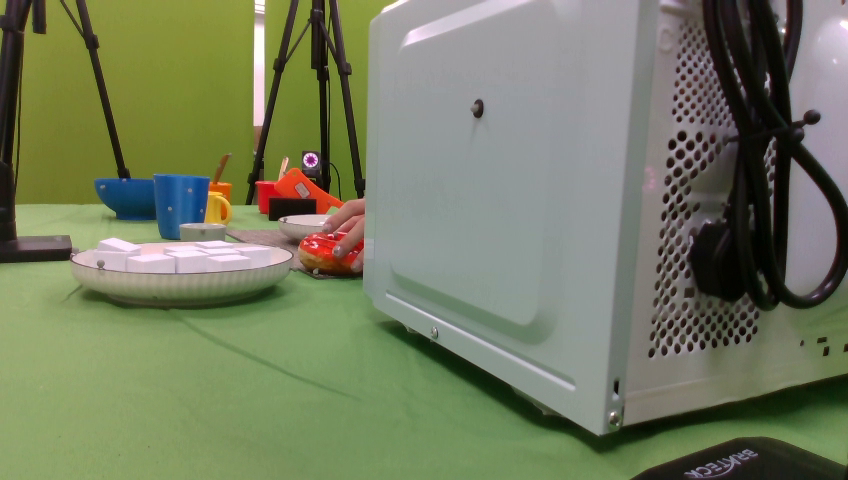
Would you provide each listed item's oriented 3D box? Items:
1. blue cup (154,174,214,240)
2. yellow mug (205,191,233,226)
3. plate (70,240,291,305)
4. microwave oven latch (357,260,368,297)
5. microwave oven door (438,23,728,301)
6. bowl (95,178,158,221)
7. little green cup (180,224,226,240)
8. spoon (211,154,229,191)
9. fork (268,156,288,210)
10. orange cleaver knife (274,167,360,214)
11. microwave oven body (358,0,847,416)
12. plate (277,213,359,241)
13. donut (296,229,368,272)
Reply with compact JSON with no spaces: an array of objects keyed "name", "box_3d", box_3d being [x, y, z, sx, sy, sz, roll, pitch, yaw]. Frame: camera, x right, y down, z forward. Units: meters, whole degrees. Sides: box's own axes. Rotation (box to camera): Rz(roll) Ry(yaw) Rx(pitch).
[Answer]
[{"name":"blue cup","box_3d":[-0.391,-0.053,0.978,0.093,0.100,0.092,3,6,0]},{"name":"yellow mug","box_3d":[-0.415,-0.057,1.132,0.130,0.064,0.100,6,8,16]},{"name":"plate","box_3d":[-0.242,0.031,0.618,0.208,0.039,0.207,2,8,0]},{"name":"microwave oven latch","box_3d":[-0.019,0.033,0.531,0.079,0.029,0.030,-1,7,-27]},{"name":"microwave oven door","box_3d":[0.181,-0.072,0.620,0.358,0.243,0.039,-2,8,-29]},{"name":"bowl","box_3d":[-0.576,-0.081,1.217,0.151,0.077,0.151,3,8,0]},{"name":"little green cup","box_3d":[-0.309,-0.001,0.846,0.061,0.038,0.061,2,8,0]},{"name":"spoon","box_3d":[-0.431,-0.115,1.253,0.042,0.193,0.021,-4,54,-33]},{"name":"fork","box_3d":[-0.360,-0.144,1.508,0.028,0.018,0.207,1,49,0]},{"name":"orange cleaver knife","box_3d":[-0.238,-0.090,1.381,0.212,0.077,0.012,31,0,-19]},{"name":"microwave oven body","box_3d":[0.211,-0.047,0.474,0.444,0.260,0.324,-1,7,-28]},{"name":"plate","box_3d":[-0.135,-0.017,0.992,0.209,0.038,0.209,3,8,0]},{"name":"donut","box_3d":[-0.107,0.014,0.739,0.099,0.048,0.099,5,9,0]}]
